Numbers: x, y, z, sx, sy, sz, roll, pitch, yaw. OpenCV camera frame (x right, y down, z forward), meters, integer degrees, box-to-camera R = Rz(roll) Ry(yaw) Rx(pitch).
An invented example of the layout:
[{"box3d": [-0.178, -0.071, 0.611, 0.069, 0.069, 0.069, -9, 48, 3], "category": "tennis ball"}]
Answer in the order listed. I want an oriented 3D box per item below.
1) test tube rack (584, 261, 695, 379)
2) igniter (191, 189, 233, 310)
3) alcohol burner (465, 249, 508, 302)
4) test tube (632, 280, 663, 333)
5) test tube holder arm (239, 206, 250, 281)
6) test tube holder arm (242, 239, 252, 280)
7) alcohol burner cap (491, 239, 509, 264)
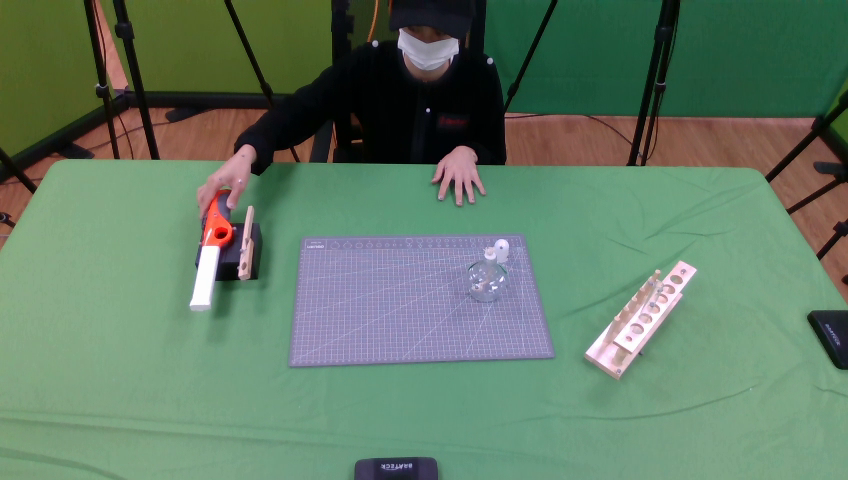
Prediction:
[{"box3d": [0.380, 0.127, 1.062, 0.066, 0.085, 0.242, 34, 53, 26], "category": "test tube rack"}, {"box3d": [-0.381, 0.008, 1.092, 0.057, 0.025, 0.274, 0, 49, -7], "category": "igniter"}, {"box3d": [0.114, 0.057, 1.085, 0.078, 0.120, 0.077, 2, 48, -2], "category": "alcohol burner"}, {"box3d": [0.363, 0.121, 0.997, 0.017, 0.151, 0.017, 2, 44, -1], "category": "test tube"}, {"box3d": [-0.327, 0.002, 1.106, 0.013, 0.015, 0.177, -7, 47, -7], "category": "test tube holder arm"}, {"box3d": [-0.314, 0.034, 1.076, 0.010, 0.015, 0.087, -7, 47, -6], "category": "test tube holder arm"}, {"box3d": [0.150, 0.020, 1.174, 0.034, 0.048, 0.033, 2, 46, -2], "category": "alcohol burner cap"}]
